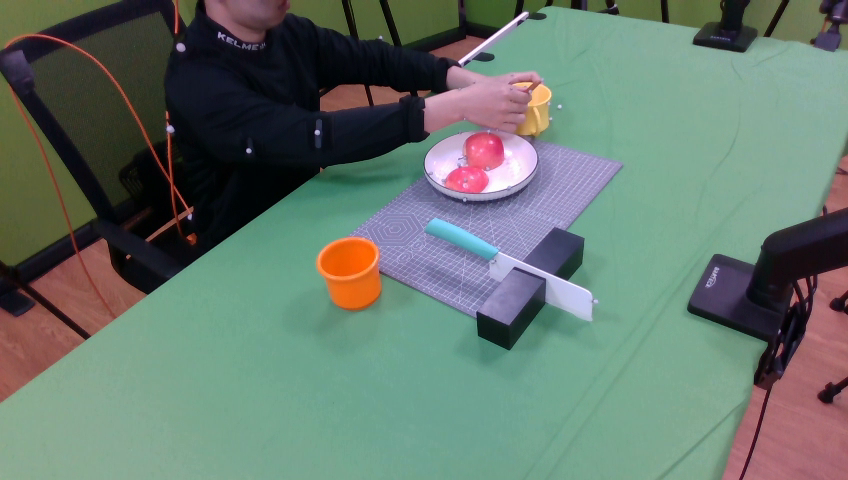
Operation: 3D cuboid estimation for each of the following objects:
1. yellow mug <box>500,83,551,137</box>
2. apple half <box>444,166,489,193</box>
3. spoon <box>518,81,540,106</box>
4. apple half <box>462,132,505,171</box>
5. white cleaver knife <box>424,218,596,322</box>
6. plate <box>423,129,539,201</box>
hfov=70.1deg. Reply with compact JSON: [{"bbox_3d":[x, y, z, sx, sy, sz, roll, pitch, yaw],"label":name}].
[{"bbox_3d":[0.206,-0.253,1.198,0.100,0.064,0.130,-13,42,-8],"label":"yellow mug"},{"bbox_3d":[0.074,-0.112,1.062,0.081,0.033,0.081,-6,39,5],"label":"apple half"},{"bbox_3d":[0.188,-0.263,1.136,0.042,0.194,0.021,-19,83,-4],"label":"spoon"},{"bbox_3d":[0.110,-0.169,1.110,0.075,0.053,0.080,-6,40,-2],"label":"apple half"},{"bbox_3d":[0.114,0.042,0.865,0.284,0.066,0.021,27,47,28],"label":"white cleaver knife"},{"bbox_3d":[0.103,-0.132,1.092,0.209,0.038,0.208,-4,40,4],"label":"plate"}]
